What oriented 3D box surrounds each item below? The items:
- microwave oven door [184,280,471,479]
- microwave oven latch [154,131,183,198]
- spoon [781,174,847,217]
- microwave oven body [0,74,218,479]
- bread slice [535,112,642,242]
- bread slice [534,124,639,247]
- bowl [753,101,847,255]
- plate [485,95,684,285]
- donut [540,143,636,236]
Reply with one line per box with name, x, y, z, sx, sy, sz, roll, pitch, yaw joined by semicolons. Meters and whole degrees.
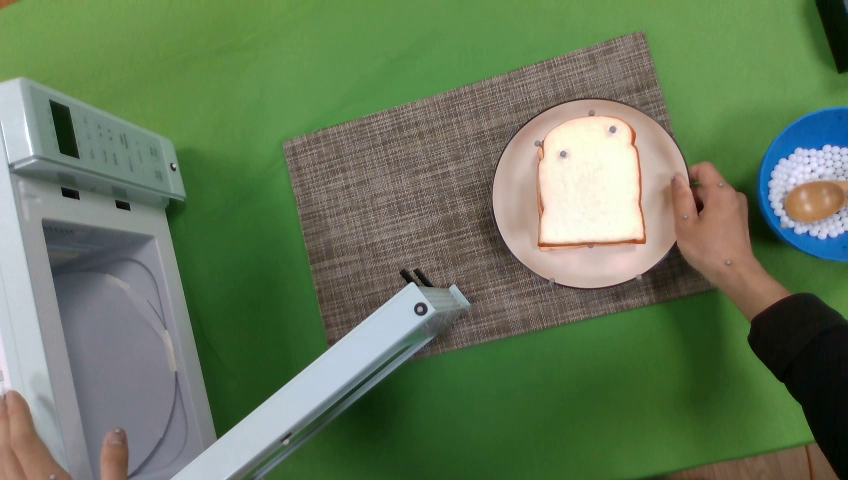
microwave oven door;-0.113;0.162;0.594;0.356;0.245;0.039;-40;79;5
microwave oven latch;-0.326;-0.093;0.753;0.030;0.029;0.079;-17;84;8
spoon;0.447;-0.067;0.576;0.193;0.022;0.041;-21;76;30
microwave oven body;-0.437;0.110;0.661;0.326;0.261;0.440;-17;84;8
bread slice;0.161;-0.064;0.612;0.104;0.019;0.131;-4;85;18
bread slice;0.171;-0.060;0.668;0.107;0.018;0.134;-8;85;11
bowl;0.405;-0.056;0.615;0.151;0.077;0.151;-1;85;10
plate;0.173;-0.053;0.667;0.207;0.039;0.207;-1;87;12
donut;0.171;-0.052;0.636;0.099;0.048;0.099;0;88;7
